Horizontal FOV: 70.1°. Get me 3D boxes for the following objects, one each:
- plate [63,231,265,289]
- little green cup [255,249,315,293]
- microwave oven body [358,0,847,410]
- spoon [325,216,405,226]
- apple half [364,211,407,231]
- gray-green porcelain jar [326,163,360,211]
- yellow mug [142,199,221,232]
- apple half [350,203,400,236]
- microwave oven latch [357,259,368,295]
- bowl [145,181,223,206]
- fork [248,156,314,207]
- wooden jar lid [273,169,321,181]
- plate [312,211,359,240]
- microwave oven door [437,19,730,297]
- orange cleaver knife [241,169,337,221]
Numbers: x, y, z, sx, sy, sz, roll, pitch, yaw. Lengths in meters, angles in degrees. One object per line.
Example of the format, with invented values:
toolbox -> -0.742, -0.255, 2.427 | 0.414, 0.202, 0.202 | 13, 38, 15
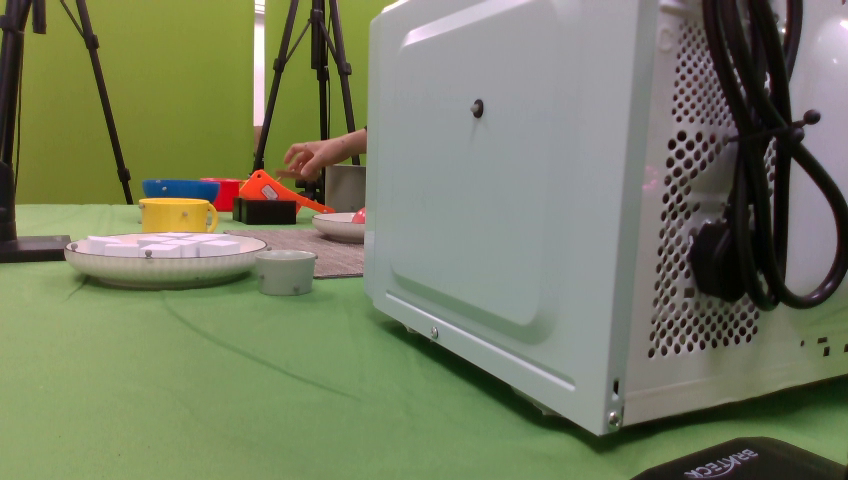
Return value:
plate -> -0.288, 0.021, 0.687 | 0.208, 0.039, 0.207 | 2, 8, 0
little green cup -> -0.144, 0.032, 0.627 | 0.061, 0.038, 0.061 | 2, 5, 0
microwave oven body -> 0.210, -0.051, 0.471 | 0.444, 0.260, 0.324 | -1, 7, -28
spoon -> -0.120, -0.043, 1.272 | 0.195, 0.021, 0.041 | -5, -15, -38
apple half -> -0.068, -0.037, 1.103 | 0.081, 0.033, 0.081 | -1, 9, 0
gray-green porcelain jar -> -0.187, -0.125, 1.489 | 0.106, 0.126, 0.106 | 2, 8, 0
yellow mug -> -0.373, -0.030, 0.948 | 0.099, 0.064, 0.131 | 6, 7, 30
apple half -> -0.081, -0.036, 1.024 | 0.081, 0.053, 0.074 | -2, 11, -34
microwave oven latch -> -0.019, 0.031, 0.529 | 0.079, 0.029, 0.030 | -1, 7, -26
bowl -> -0.499, -0.081, 1.261 | 0.151, 0.077, 0.151 | 2, 7, 0
fork -> -0.360, -0.147, 1.523 | 0.207, 0.019, 0.028 | -43, 17, -7
wooden jar lid -> -0.291, -0.150, 1.388 | 0.108, 0.020, 0.108 | 6, 6, 0
plate -> -0.091, -0.026, 1.063 | 0.209, 0.038, 0.209 | 2, 7, 0
microwave oven door -> 0.180, -0.076, 0.618 | 0.358, 0.243, 0.039 | -2, 9, -28
orange cleaver knife -> -0.286, -0.081, 1.298 | 0.212, 0.077, 0.012 | 25, -5, -31
